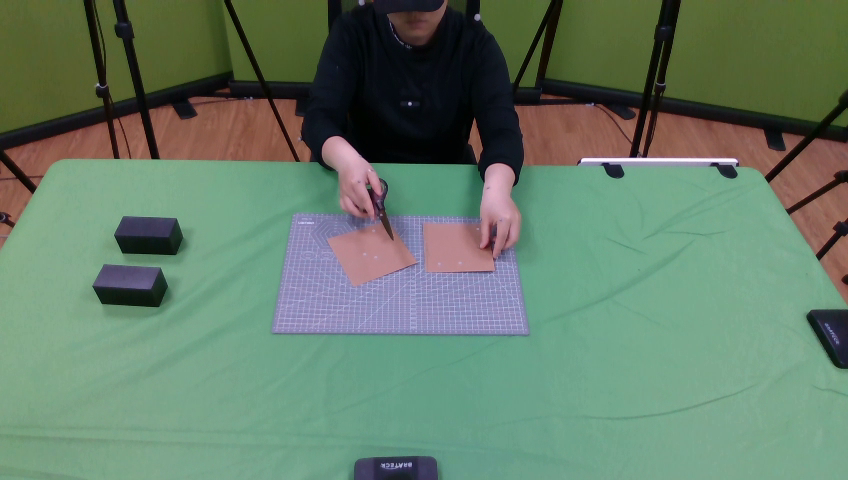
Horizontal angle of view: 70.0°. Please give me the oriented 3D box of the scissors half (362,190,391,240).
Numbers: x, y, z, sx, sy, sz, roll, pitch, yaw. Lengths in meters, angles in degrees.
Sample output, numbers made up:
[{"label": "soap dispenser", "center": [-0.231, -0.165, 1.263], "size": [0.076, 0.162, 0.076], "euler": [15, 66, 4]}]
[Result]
[{"label": "scissors half", "center": [-0.090, -0.046, 1.168], "size": [0.013, 0.040, 0.174], "euler": [24, 18, -33]}]

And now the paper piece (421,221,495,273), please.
[{"label": "paper piece", "center": [0.065, 0.013, 1.196], "size": [0.138, 0.009, 0.135], "euler": [1, 49, -4]}]

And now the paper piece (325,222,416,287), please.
[{"label": "paper piece", "center": [-0.105, 0.022, 1.174], "size": [0.135, 0.004, 0.135], "euler": [-19, 50, -21]}]

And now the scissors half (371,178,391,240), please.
[{"label": "scissors half", "center": [-0.079, -0.061, 1.161], "size": [0.013, 0.040, 0.174], "euler": [19, 38, -31]}]
